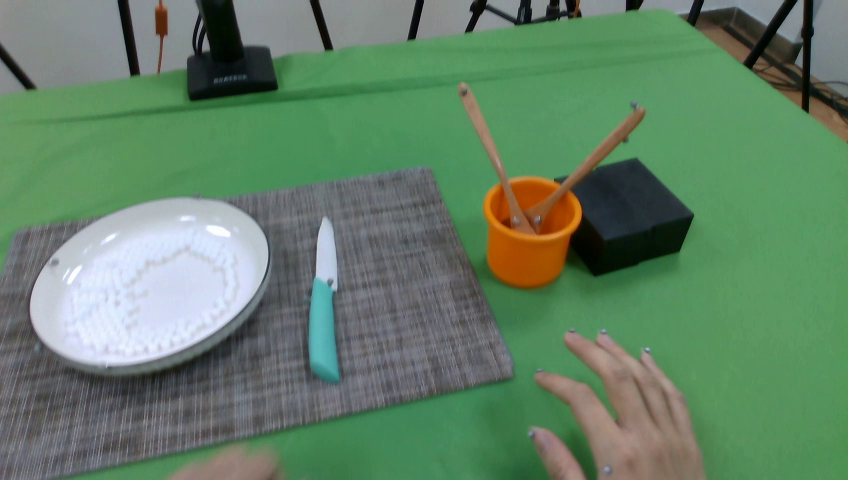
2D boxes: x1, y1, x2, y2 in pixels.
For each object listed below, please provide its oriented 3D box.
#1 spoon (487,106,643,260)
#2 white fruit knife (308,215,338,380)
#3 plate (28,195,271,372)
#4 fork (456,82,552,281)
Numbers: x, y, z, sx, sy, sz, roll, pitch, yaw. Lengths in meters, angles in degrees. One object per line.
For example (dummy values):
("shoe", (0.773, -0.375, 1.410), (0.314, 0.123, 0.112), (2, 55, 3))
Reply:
("spoon", (0.133, -0.052, 0.575), (0.041, 0.194, 0.021), (47, 21, 5))
("white fruit knife", (-0.096, 0.043, 0.575), (0.027, 0.016, 0.205), (19, 36, -24))
("plate", (-0.244, 0.038, 0.562), (0.209, 0.038, 0.207), (0, 44, 0))
("fork", (0.075, -0.057, 0.585), (0.028, 0.018, 0.207), (-23, 93, -8))
